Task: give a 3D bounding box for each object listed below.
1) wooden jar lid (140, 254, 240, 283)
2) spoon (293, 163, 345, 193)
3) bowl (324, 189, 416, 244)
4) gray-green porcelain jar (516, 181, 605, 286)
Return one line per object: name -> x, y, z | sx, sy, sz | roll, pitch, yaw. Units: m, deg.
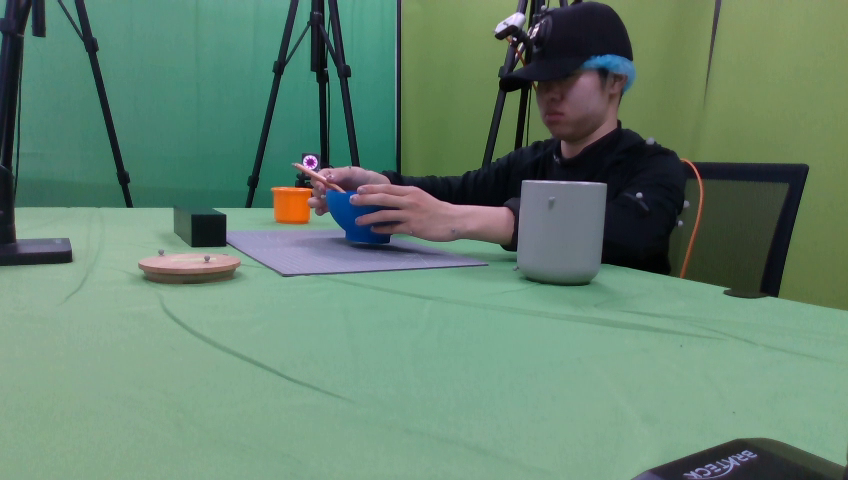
wooden jar lid -> -0.269, 0.032, 0.698 | 0.108, 0.020, 0.108 | 2, 5, 0
spoon -> -0.144, -0.080, 1.015 | 0.193, 0.021, 0.042 | 37, 29, 12
bowl -> -0.091, -0.037, 0.990 | 0.151, 0.077, 0.151 | 6, 5, 0
gray-green porcelain jar -> 0.172, -0.010, 0.768 | 0.106, 0.126, 0.106 | 2, 7, 0
